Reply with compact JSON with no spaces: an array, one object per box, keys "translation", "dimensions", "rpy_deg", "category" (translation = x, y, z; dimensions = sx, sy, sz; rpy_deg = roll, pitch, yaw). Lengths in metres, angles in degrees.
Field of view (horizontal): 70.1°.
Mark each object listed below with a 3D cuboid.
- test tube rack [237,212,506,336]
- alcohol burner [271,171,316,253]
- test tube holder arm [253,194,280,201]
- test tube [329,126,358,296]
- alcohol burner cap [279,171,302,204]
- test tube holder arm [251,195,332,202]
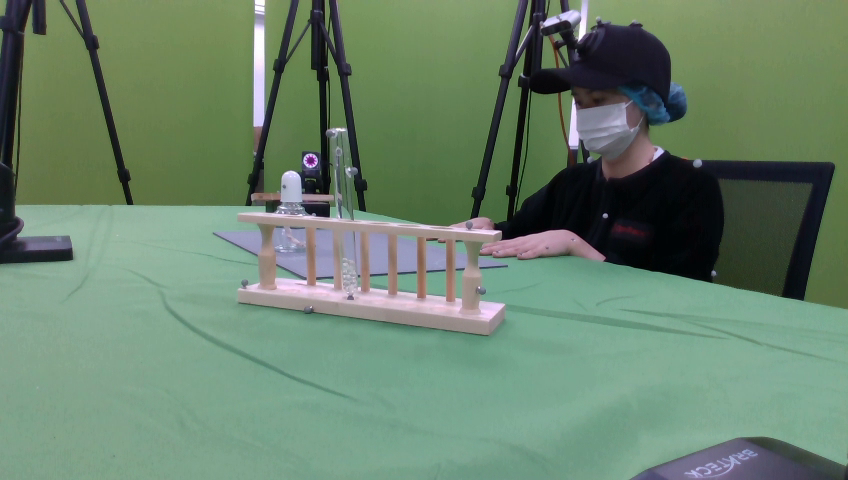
[{"translation":[-0.049,0.024,0.552],"dimensions":[0.242,0.085,0.067],"rpy_deg":[5,8,18],"category":"test tube rack"},{"translation":[-0.196,-0.041,0.884],"dimensions":[0.078,0.119,0.078],"rpy_deg":[3,5,0],"category":"alcohol burner"},{"translation":[-0.297,-0.084,1.201],"dimensions":[0.088,0.015,0.010],"rpy_deg":[-3,3,-41],"category":"test tube holder arm"},{"translation":[-0.071,-0.025,0.535],"dimensions":[0.017,0.150,0.017],"rpy_deg":[-3,8,1],"category":"test tube"},{"translation":[-0.195,-0.077,0.880],"dimensions":[0.034,0.048,0.034],"rpy_deg":[0,6,0],"category":"alcohol burner cap"},{"translation":[-0.267,-0.085,1.236],"dimensions":[0.179,0.015,0.013],"rpy_deg":[-3,3,-42],"category":"test tube holder arm"}]
